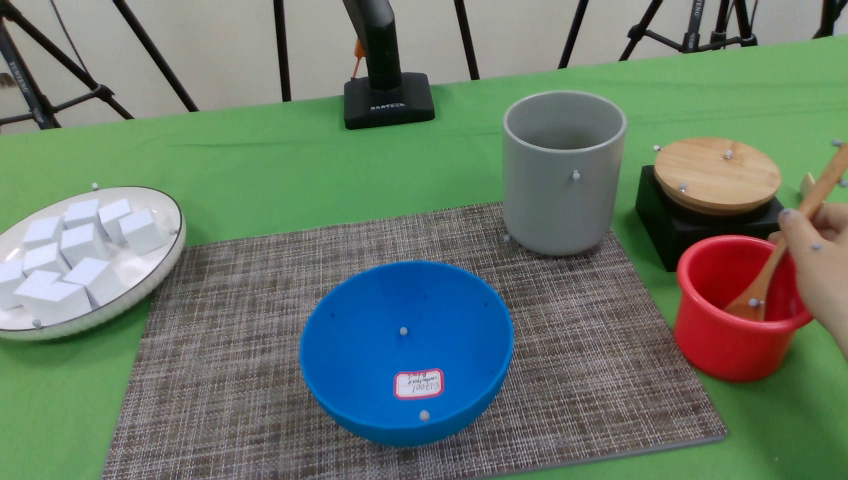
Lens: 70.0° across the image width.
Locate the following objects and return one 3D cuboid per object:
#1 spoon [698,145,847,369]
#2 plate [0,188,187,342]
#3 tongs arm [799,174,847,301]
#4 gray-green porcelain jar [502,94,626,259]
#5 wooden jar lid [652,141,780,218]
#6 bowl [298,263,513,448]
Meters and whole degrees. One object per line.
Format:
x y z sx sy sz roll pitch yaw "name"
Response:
0.269 0.014 0.455 0.022 0.194 0.041 21 11 -31 "spoon"
-0.337 0.024 0.600 0.209 0.038 0.207 -4 41 4 "plate"
0.365 0.069 0.476 0.028 0.028 0.384 3 42 7 "tongs arm"
0.125 -0.054 0.564 0.106 0.128 0.105 -3 41 3 "gray-green porcelain jar"
0.267 -0.055 0.560 0.108 0.021 0.107 -4 41 4 "wooden jar lid"
-0.010 0.095 0.445 0.151 0.077 0.150 -3 41 3 "bowl"
